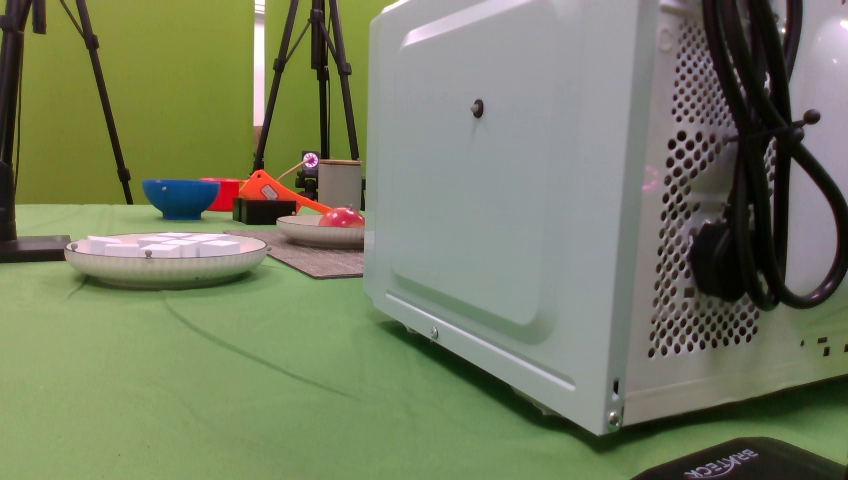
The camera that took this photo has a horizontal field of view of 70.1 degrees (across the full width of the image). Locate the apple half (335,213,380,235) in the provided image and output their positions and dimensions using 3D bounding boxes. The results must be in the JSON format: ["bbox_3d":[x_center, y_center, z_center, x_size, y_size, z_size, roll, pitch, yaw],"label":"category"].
[{"bbox_3d":[-0.112,-0.029,1.034,0.081,0.033,0.081,0,10,0],"label":"apple half"}]

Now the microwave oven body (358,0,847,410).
[{"bbox_3d":[0.210,-0.051,0.471,0.444,0.260,0.324,-1,7,-28],"label":"microwave oven body"}]

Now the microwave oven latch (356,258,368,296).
[{"bbox_3d":[-0.019,0.031,0.528,0.079,0.029,0.030,-1,7,-26],"label":"microwave oven latch"}]

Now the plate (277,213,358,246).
[{"bbox_3d":[-0.135,-0.018,0.993,0.209,0.038,0.209,2,7,0],"label":"plate"}]

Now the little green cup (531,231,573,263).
[{"bbox_3d":[0.184,0.009,0.878,0.061,0.038,0.061,3,9,0],"label":"little green cup"}]

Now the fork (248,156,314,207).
[{"bbox_3d":[-0.360,-0.147,1.523,0.207,0.019,0.028,-43,17,-6],"label":"fork"}]

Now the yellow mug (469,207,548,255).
[{"bbox_3d":[0.136,-0.015,0.950,0.131,0.064,0.099,3,6,-20],"label":"yellow mug"}]

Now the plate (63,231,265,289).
[{"bbox_3d":[-0.288,0.021,0.687,0.208,0.039,0.207,2,8,0],"label":"plate"}]

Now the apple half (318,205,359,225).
[{"bbox_3d":[-0.126,-0.029,0.954,0.081,0.053,0.074,-2,11,-33],"label":"apple half"}]

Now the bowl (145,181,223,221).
[{"bbox_3d":[-0.499,-0.081,1.261,0.151,0.077,0.151,2,8,0],"label":"bowl"}]

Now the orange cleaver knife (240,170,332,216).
[{"bbox_3d":[-0.287,-0.081,1.299,0.212,0.077,0.012,25,-2,-31],"label":"orange cleaver knife"}]

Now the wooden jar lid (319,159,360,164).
[{"bbox_3d":[-0.203,-0.189,1.482,0.108,0.020,0.108,2,10,0],"label":"wooden jar lid"}]

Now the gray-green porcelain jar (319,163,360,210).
[{"bbox_3d":[-0.204,-0.126,1.490,0.106,0.126,0.106,2,8,0],"label":"gray-green porcelain jar"}]

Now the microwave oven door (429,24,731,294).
[{"bbox_3d":[0.177,-0.077,0.626,0.357,0.243,0.039,-2,8,-25],"label":"microwave oven door"}]

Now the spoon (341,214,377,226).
[{"bbox_3d":[-0.132,-0.047,1.305,0.041,0.021,0.194,-14,4,14],"label":"spoon"}]
